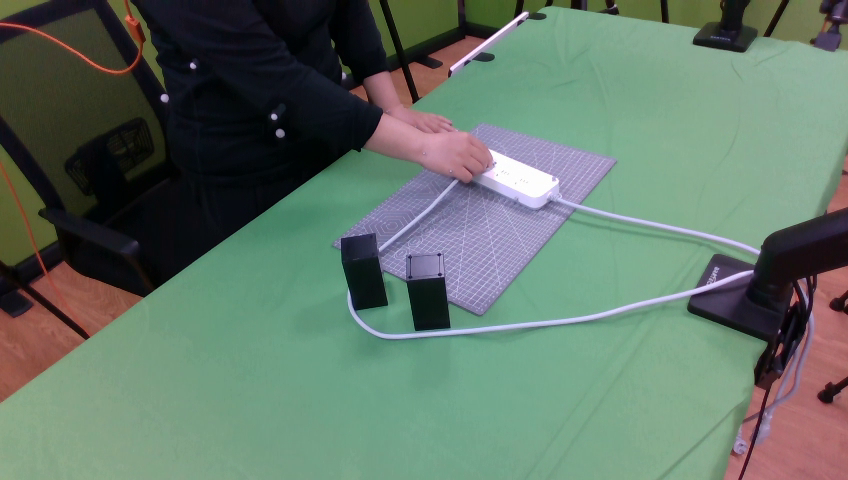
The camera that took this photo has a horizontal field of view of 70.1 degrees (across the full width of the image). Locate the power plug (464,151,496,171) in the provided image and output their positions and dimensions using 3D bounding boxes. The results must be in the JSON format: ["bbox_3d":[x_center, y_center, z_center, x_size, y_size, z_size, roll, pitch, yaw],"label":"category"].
[{"bbox_3d":[0.094,-0.128,1.065,0.073,0.053,0.035,-26,44,-20],"label":"power plug"}]

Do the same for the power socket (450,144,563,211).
[{"bbox_3d":[0.140,-0.114,1.072,0.072,0.033,0.225,-36,48,-29],"label":"power socket"}]
